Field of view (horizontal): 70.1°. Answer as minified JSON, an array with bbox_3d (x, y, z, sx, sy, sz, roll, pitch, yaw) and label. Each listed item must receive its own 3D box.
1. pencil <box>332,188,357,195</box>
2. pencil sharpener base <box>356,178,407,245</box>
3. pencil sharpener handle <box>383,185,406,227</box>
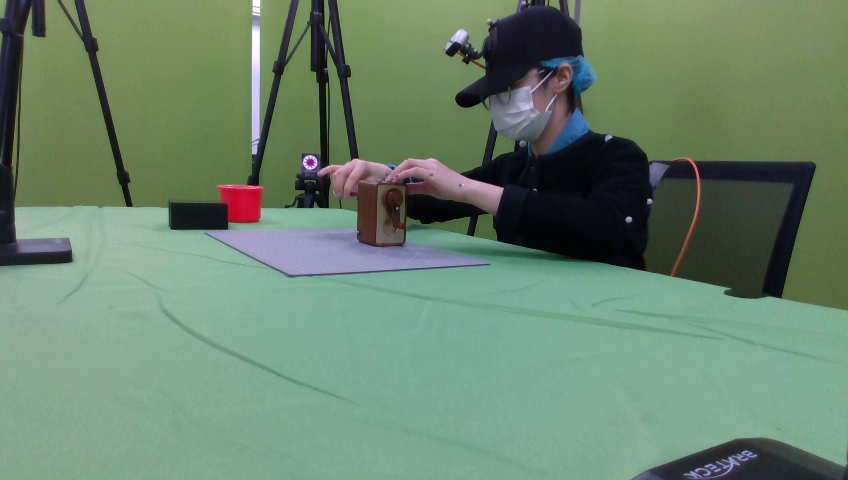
[{"bbox_3d":[-0.124,-0.086,1.101,0.012,0.012,0.193,-3,7,-33],"label":"pencil"},{"bbox_3d":[-0.071,-0.049,1.018,0.062,0.107,0.076,-2,9,-32],"label":"pencil sharpener base"},{"bbox_3d":[-0.042,-0.055,0.975,0.036,0.067,0.030,-10,13,-31],"label":"pencil sharpener handle"}]
